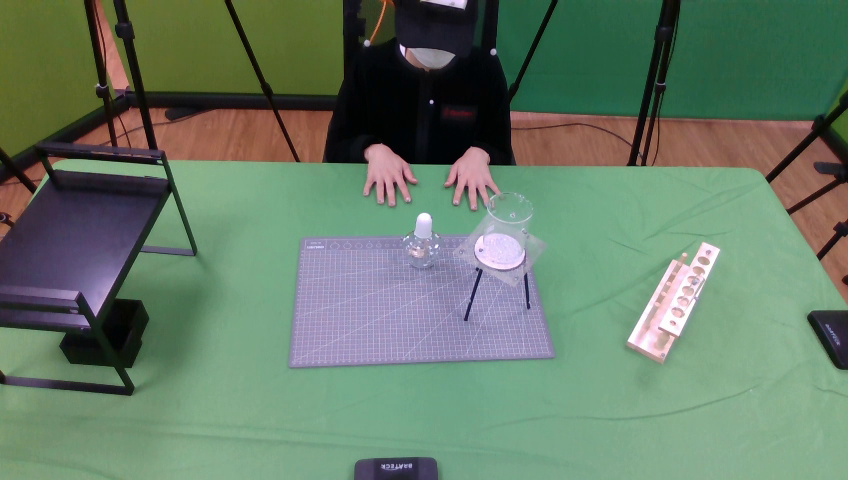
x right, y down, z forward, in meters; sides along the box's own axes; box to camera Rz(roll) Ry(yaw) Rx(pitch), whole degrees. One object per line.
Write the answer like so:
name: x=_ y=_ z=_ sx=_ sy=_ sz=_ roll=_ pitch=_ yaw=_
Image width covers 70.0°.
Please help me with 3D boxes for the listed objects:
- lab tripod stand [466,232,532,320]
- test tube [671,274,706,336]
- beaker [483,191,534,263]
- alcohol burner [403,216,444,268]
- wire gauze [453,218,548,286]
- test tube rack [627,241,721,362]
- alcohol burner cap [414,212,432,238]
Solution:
lab tripod stand: x=0.125 y=0.059 z=1.065 sx=0.148 sy=0.132 sz=0.147 roll=1 pitch=45 yaw=0
test tube: x=0.429 y=0.112 z=1.004 sx=0.017 sy=0.151 sz=0.017 roll=4 pitch=43 yaw=-4
beaker: x=0.135 y=-0.020 z=0.983 sx=0.073 sy=0.101 sz=0.084 roll=28 pitch=50 yaw=23
alcohol burner: x=-0.001 y=-0.004 z=1.132 sx=0.078 sy=0.120 sz=0.077 roll=1 pitch=46 yaw=0
wire gauze: x=0.129 y=0.014 z=1.019 sx=0.124 sy=0.011 sz=0.121 roll=25 pitch=47 yaw=25
test tube rack: x=0.452 y=0.098 z=1.087 sx=0.066 sy=0.085 sz=0.242 roll=28 pitch=51 yaw=22
alcohol burner cap: x=0.000 y=-0.030 z=1.107 sx=0.034 sy=0.048 sz=0.033 roll=4 pitch=41 yaw=-3
